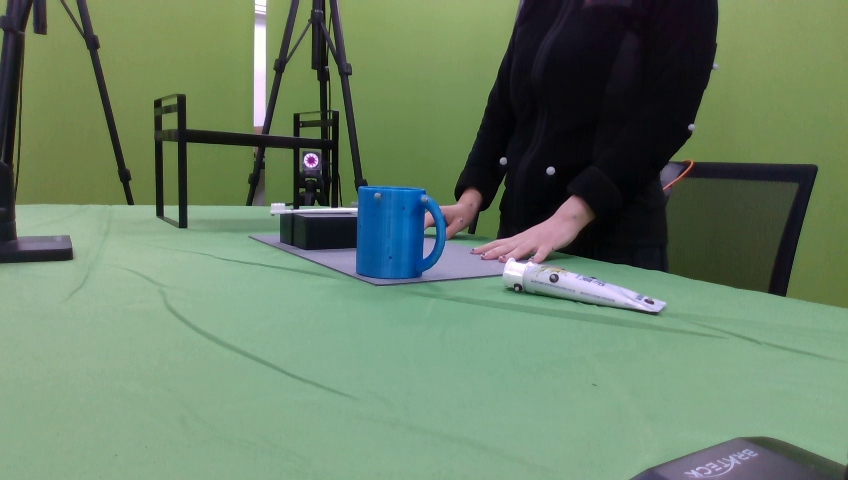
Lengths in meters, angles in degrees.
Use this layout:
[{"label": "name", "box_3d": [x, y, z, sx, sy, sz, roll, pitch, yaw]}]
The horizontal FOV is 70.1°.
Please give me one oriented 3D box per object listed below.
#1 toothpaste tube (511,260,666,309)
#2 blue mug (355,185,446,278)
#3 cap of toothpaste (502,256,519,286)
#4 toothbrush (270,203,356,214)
[{"label": "toothpaste tube", "box_3d": [0.167, 0.049, 0.642, 0.164, 0.034, 0.055, 10, 15, 28]}, {"label": "blue mug", "box_3d": [-0.027, -0.011, 0.723, 0.116, 0.106, 0.083, 7, 8, 27]}, {"label": "cap of toothpaste", "box_3d": [0.100, 0.036, 0.681, 0.011, 0.037, 0.037, 10, 11, 28]}, {"label": "toothbrush", "box_3d": [-0.156, -0.050, 0.958, 0.183, 0.016, 0.014, -2, 2, -33]}]
